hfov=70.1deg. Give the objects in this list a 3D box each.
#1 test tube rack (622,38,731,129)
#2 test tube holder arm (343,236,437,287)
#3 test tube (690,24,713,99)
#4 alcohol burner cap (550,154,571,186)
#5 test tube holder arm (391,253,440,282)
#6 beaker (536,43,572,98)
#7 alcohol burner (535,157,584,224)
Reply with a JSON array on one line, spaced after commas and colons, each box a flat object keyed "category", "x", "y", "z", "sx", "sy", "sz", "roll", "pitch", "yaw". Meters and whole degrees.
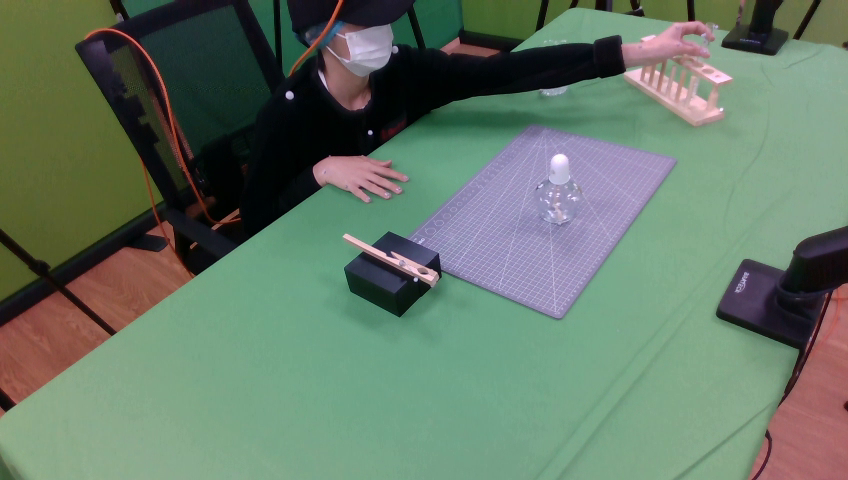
[{"category": "test tube rack", "x": 0.506, "y": -0.325, "z": 1.234, "sx": 0.067, "sy": 0.085, "sz": 0.240, "roll": -18, "pitch": 41, "yaw": -11}, {"category": "test tube holder arm", "x": -0.053, "y": 0.029, "z": 0.879, "sx": 0.177, "sy": 0.015, "sz": 0.013, "roll": 22, "pitch": 56, "yaw": 32}, {"category": "test tube", "x": 0.534, "y": -0.342, "z": 1.172, "sx": 0.017, "sy": 0.151, "sz": 0.017, "roll": -2, "pitch": 40, "yaw": 2}, {"category": "alcohol burner cap", "x": 0.212, "y": -0.112, "z": 0.944, "sx": 0.034, "sy": 0.048, "sz": 0.033, "roll": -6, "pitch": 44, "yaw": 7}, {"category": "test tube holder arm", "x": -0.015, "y": 0.039, "z": 0.858, "sx": 0.087, "sy": 0.015, "sz": 0.010, "roll": 22, "pitch": 57, "yaw": 32}, {"category": "beaker", "x": 0.281, "y": -0.368, "z": 1.311, "sx": 0.074, "sy": 0.101, "sz": 0.084, "roll": 4, "pitch": 41, "yaw": 14}, {"category": "alcohol burner", "x": 0.217, "y": -0.085, "z": 0.967, "sx": 0.078, "sy": 0.119, "sz": 0.077, "roll": -3, "pitch": 41, "yaw": 3}]
